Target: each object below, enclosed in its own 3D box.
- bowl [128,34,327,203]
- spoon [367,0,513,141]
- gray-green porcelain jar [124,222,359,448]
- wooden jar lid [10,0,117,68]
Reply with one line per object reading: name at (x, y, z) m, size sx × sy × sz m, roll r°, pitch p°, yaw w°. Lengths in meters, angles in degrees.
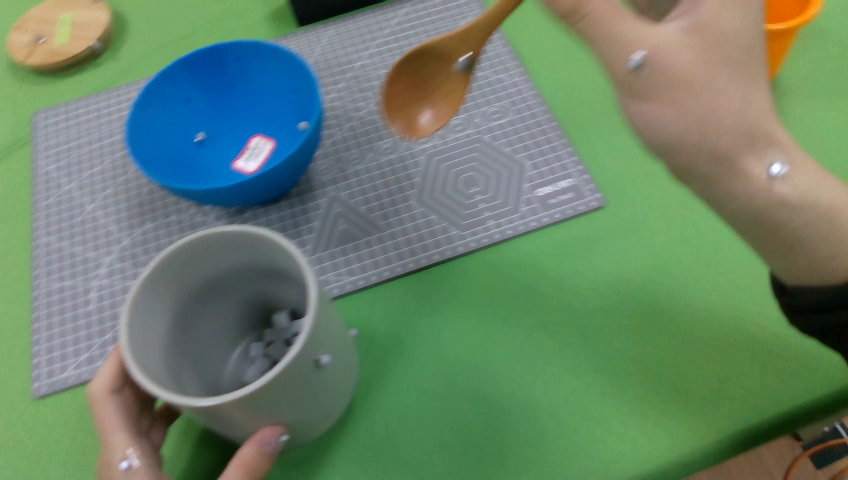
bowl at (-0.144, -0.083, 0.485) m, size 0.151 × 0.077 × 0.150 m, roll -3°, pitch 60°, yaw 5°
spoon at (0.032, -0.102, 0.255) m, size 0.042 × 0.194 × 0.021 m, roll 36°, pitch 51°, yaw -15°
gray-green porcelain jar at (-0.099, 0.065, 0.371) m, size 0.106 × 0.127 × 0.105 m, roll -3°, pitch 60°, yaw 6°
wooden jar lid at (-0.369, -0.218, 0.626) m, size 0.108 × 0.021 × 0.107 m, roll -2°, pitch 60°, yaw 3°
